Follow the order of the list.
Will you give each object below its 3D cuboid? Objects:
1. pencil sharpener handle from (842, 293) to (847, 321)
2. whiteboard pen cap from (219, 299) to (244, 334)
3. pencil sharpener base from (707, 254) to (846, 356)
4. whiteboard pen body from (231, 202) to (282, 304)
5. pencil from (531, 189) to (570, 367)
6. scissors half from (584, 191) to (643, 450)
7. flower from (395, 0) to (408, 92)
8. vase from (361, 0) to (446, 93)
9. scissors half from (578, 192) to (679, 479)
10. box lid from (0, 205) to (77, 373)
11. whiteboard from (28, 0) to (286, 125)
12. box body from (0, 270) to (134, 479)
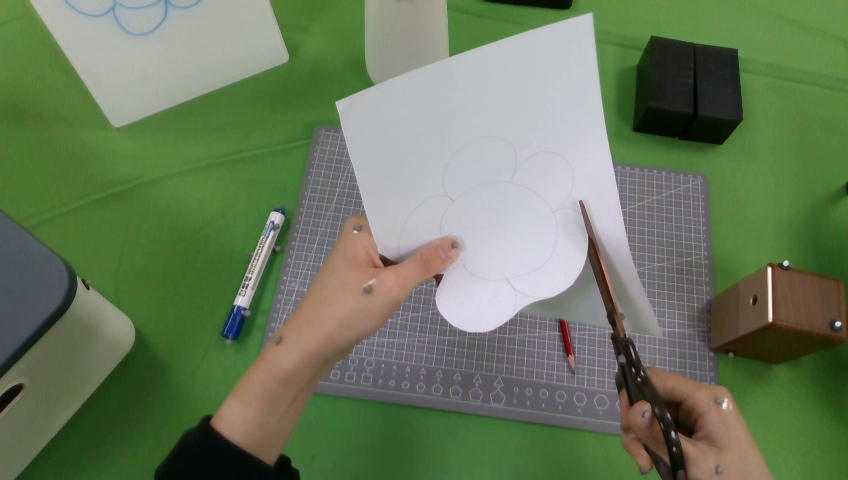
[{"bbox_3d":[0.380,0.072,0.561,0.030,0.068,0.035,12,62,0],"label":"pencil sharpener handle"},{"bbox_3d":[-0.188,0.075,0.598,0.018,0.018,0.033,13,64,4],"label":"whiteboard pen cap"},{"bbox_3d":[0.329,0.065,0.573,0.077,0.107,0.061,12,67,0],"label":"pencil sharpener base"},{"bbox_3d":[-0.175,0.022,0.622,0.017,0.017,0.140,14,66,4],"label":"whiteboard pen body"},{"bbox_3d":[0.133,0.036,0.630,0.012,0.012,0.192,-6,70,-4],"label":"pencil"},{"bbox_3d":[0.119,0.053,0.379,0.013,0.040,0.176,-15,107,3],"label":"scissors half"},{"bbox_3d":[-0.027,-0.292,0.568,0.044,0.365,0.038,1,50,2],"label":"flower"},{"bbox_3d":[-0.023,-0.247,0.640,0.098,0.201,0.097,0,66,0],"label":"vase"},{"bbox_3d":[0.119,0.055,0.357,0.013,0.040,0.174,-16,83,-2],"label":"scissors half"},{"bbox_3d":[-0.479,0.025,0.453,0.370,0.015,0.262,33,70,11],"label":"box lid"},{"bbox_3d":[-0.310,-0.318,0.634,0.217,0.308,0.142,-25,51,-11],"label":"whiteboard"},{"bbox_3d":[-0.479,0.055,0.521,0.362,0.161,0.253,33,71,11],"label":"box body"}]
